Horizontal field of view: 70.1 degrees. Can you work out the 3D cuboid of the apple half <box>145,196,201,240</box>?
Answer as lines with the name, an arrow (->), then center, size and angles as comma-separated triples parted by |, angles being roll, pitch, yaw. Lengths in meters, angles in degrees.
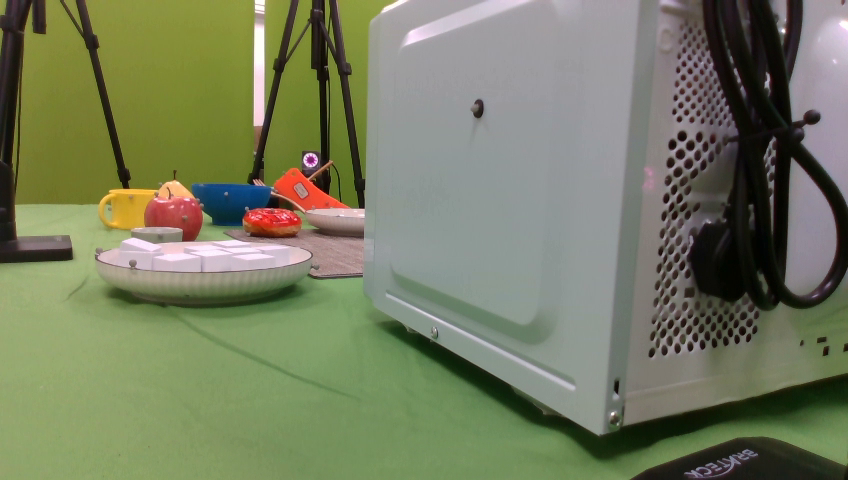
apple half -> -0.377, -0.027, 0.891 | 0.080, 0.074, 0.053 | 8, 12, 18

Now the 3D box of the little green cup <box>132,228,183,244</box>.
little green cup -> -0.342, 0.006, 0.779 | 0.061, 0.038, 0.061 | 2, 8, 0

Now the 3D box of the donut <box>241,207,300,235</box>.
donut -> -0.263, -0.032, 1.039 | 0.099, 0.048, 0.099 | 4, 9, 0

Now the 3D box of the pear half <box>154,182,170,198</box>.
pear half -> -0.435, -0.053, 1.006 | 0.031, 0.088, 0.070 | 3, 12, 0

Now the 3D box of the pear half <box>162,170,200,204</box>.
pear half -> -0.399, -0.061, 1.002 | 0.056, 0.110, 0.076 | 2, 12, 1

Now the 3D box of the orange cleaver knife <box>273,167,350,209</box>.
orange cleaver knife -> -0.237, -0.087, 1.358 | 0.211, 0.077, 0.012 | 32, 4, -3

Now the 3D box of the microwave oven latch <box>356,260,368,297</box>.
microwave oven latch -> -0.019, 0.033, 0.531 | 0.079, 0.029, 0.030 | -1, 7, -27

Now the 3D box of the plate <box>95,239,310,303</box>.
plate -> -0.224, 0.031, 0.629 | 0.208, 0.039, 0.207 | 2, 8, 0

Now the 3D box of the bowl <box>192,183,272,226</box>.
bowl -> -0.381, -0.070, 1.202 | 0.151, 0.077, 0.151 | 3, 7, 0

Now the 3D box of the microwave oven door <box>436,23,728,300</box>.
microwave oven door -> 0.180, -0.072, 0.621 | 0.358, 0.243, 0.039 | -2, 9, -29

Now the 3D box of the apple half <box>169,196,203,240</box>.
apple half -> -0.365, -0.033, 0.928 | 0.081, 0.081, 0.033 | 5, 12, 18

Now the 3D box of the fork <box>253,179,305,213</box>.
fork -> -0.294, -0.084, 1.293 | 0.206, 0.018, 0.028 | 29, 12, 26

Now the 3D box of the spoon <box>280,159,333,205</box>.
spoon -> -0.316, -0.159, 1.639 | 0.194, 0.022, 0.041 | -49, 32, -20

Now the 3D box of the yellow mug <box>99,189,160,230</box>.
yellow mug -> -0.518, -0.055, 1.080 | 0.099, 0.064, 0.131 | 7, 10, 26

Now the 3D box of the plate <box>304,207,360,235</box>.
plate -> -0.123, -0.037, 1.149 | 0.209, 0.038, 0.209 | 2, 7, 0

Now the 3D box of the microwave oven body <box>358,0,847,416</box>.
microwave oven body -> 0.211, -0.047, 0.475 | 0.444, 0.260, 0.324 | -1, 8, -28

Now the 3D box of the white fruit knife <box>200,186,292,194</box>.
white fruit knife -> -0.399, -0.111, 1.368 | 0.208, 0.016, 0.027 | -4, -19, -29
